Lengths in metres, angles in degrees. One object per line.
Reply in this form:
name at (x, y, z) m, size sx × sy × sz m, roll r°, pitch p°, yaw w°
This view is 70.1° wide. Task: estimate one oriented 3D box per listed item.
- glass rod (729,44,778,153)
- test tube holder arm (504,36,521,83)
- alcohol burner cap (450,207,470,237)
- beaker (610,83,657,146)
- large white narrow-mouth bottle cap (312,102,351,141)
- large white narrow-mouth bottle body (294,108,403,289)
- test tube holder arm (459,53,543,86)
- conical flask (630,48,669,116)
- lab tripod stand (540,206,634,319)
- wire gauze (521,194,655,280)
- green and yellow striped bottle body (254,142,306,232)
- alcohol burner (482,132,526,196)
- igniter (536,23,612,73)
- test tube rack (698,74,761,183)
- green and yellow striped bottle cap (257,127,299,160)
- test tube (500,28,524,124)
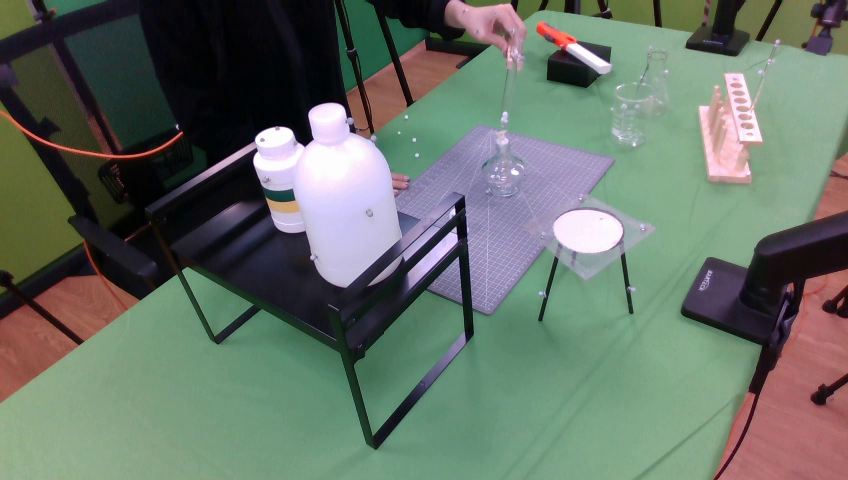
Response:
glass rod at (0.554, -0.233, 1.020) m, size 0.008 × 0.200 × 0.008 m, roll 2°, pitch 39°, yaw -1°
test tube holder arm at (0.142, -0.287, 0.966) m, size 0.010 × 0.088 × 0.015 m, roll 20°, pitch 66°, yaw 28°
alcohol burner cap at (0.057, -0.032, 0.987) m, size 0.034 × 0.048 × 0.033 m, roll -5°, pitch 41°, yaw 5°
beaker at (0.388, -0.235, 1.138) m, size 0.074 × 0.101 × 0.083 m, roll -31°, pitch 46°, yaw -25°
large white narrow-mouth bottle cap at (-0.089, -0.114, 0.579) m, size 0.038 × 0.024 × 0.037 m, roll -4°, pitch 39°, yaw 3°
large white narrow-mouth bottle body at (-0.082, -0.047, 0.634) m, size 0.102 × 0.195 × 0.101 m, roll -4°, pitch 39°, yaw 4°
test tube holder arm at (0.123, -0.281, 1.001) m, size 0.177 × 0.013 × 0.015 m, roll 0°, pitch 56°, yaw 49°
conical flask at (0.457, -0.317, 1.205) m, size 0.075 × 0.122 × 0.075 m, roll -4°, pitch 41°, yaw 4°
lab tripod stand at (0.218, 0.034, 0.821) m, size 0.148 × 0.132 × 0.147 m, roll -4°, pitch 42°, yaw 4°
wire gauze at (0.207, -0.012, 0.772) m, size 0.122 × 0.011 × 0.124 m, roll -28°, pitch 44°, yaw -20°
green and yellow striped bottle body at (-0.165, -0.073, 0.732) m, size 0.063 × 0.120 × 0.063 m, roll -4°, pitch 41°, yaw 4°
alcohol burner at (0.137, -0.136, 1.042) m, size 0.078 × 0.119 × 0.077 m, roll -4°, pitch 43°, yaw 4°
igniter at (0.330, -0.439, 1.366) m, size 0.057 × 0.025 × 0.274 m, roll -12°, pitch 40°, yaw -20°
test tube rack at (0.547, -0.208, 1.095) m, size 0.066 × 0.085 × 0.242 m, roll 5°, pitch 42°, yaw 15°
green and yellow striped bottle cap at (-0.169, -0.112, 0.699) m, size 0.045 × 0.020 × 0.045 m, roll -5°, pitch 40°, yaw 5°
test tube at (0.138, -0.257, 0.957) m, size 0.017 × 0.150 × 0.017 m, roll 4°, pitch 30°, yaw -2°
